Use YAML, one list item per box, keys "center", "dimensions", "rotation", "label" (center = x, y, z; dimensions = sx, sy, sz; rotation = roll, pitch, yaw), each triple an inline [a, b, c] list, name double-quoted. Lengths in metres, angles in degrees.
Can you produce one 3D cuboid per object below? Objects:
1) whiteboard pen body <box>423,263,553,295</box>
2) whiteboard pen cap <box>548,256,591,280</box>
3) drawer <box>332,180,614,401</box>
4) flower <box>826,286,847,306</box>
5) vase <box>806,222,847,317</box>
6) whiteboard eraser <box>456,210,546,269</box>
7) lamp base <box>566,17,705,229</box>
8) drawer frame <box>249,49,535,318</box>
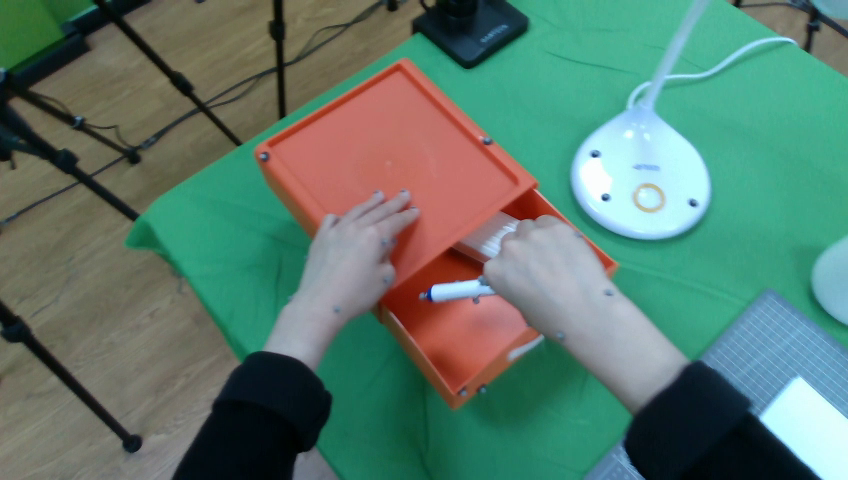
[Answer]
- center: [0.064, 0.032, 0.511]
  dimensions: [0.140, 0.017, 0.017]
  rotation: [-9, 59, 25]
  label: "whiteboard pen body"
- center: [0.117, 0.023, 0.487]
  dimensions: [0.033, 0.018, 0.018]
  rotation: [-9, 59, 25]
  label: "whiteboard pen cap"
- center: [0.037, 0.013, 0.589]
  dimensions: [0.194, 0.074, 0.210]
  rotation: [-36, 67, -16]
  label: "drawer"
- center: [0.470, -0.043, 0.503]
  dimensions: [0.038, 0.364, 0.044]
  rotation: [31, 49, 8]
  label: "flower"
- center: [0.454, 0.001, 0.573]
  dimensions: [0.098, 0.201, 0.097]
  rotation: [-1, 61, 1]
  label: "vase"
- center: [0.069, -0.002, 0.634]
  dimensions: [0.111, 0.042, 0.055]
  rotation: [17, 69, 41]
  label: "whiteboard eraser"
- center: [0.245, -0.130, 0.652]
  dimensions: [0.161, 0.182, 0.177]
  rotation: [-7, 60, -3]
  label: "lamp base"
- center: [-0.033, -0.063, 0.625]
  dimensions: [0.201, 0.083, 0.212]
  rotation: [-37, 70, -16]
  label: "drawer frame"
